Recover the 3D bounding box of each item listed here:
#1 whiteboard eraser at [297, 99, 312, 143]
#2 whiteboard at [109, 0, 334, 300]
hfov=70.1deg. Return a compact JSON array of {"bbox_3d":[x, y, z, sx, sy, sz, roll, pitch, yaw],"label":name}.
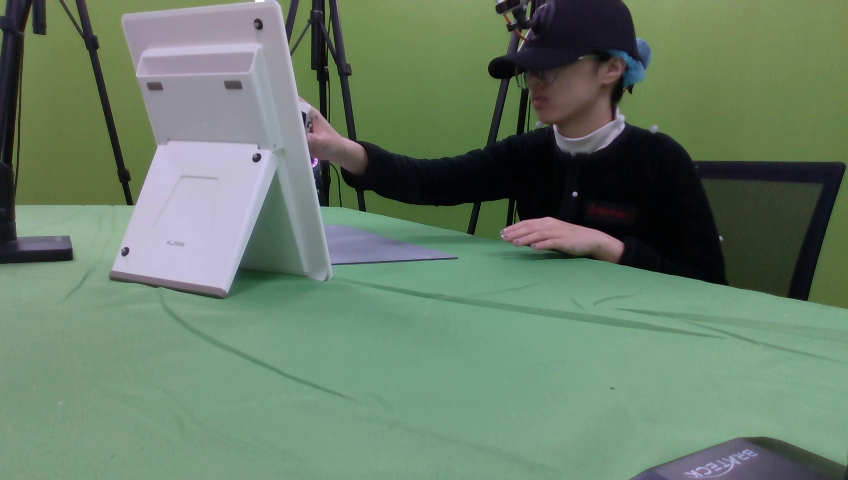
[{"bbox_3d":[-0.199,-0.155,0.879,0.055,0.112,0.042,22,49,0],"label":"whiteboard eraser"},{"bbox_3d":[-0.247,-0.072,0.624,0.216,0.305,0.144,6,28,26],"label":"whiteboard"}]
